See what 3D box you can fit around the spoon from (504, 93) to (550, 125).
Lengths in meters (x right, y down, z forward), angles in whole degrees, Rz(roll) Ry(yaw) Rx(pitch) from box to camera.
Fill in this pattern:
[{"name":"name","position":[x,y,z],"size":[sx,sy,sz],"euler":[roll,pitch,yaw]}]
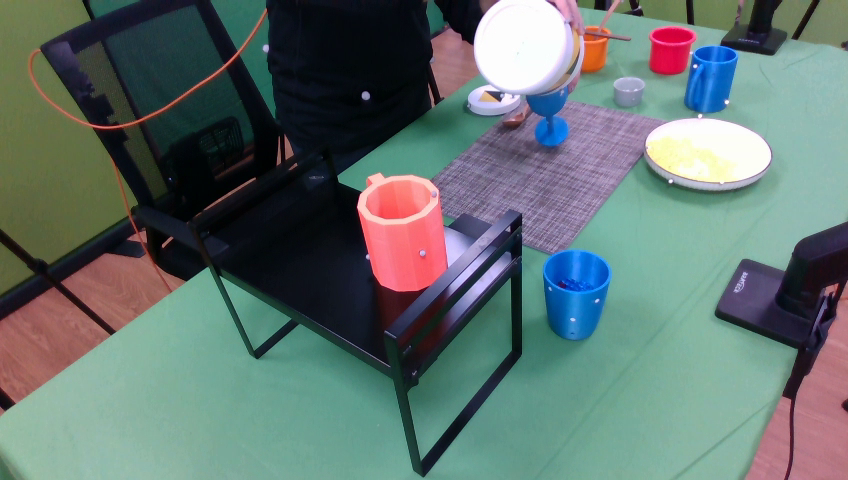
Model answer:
[{"name":"spoon","position":[0.227,-0.285,1.269],"size":[0.041,0.022,0.194],"euler":[1,35,45]}]

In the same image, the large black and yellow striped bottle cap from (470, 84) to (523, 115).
[{"name":"large black and yellow striped bottle cap","position":[0.156,-0.307,1.316],"size":[0.115,0.019,0.114],"euler":[-7,39,6]}]

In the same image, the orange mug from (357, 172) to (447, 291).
[{"name":"orange mug","position":[-0.030,-0.018,0.669],"size":[0.084,0.101,0.125],"euler":[-23,47,-16]}]

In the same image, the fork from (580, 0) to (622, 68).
[{"name":"fork","position":[0.409,-0.484,1.381],"size":[0.028,0.019,0.207],"euler":[37,101,46]}]

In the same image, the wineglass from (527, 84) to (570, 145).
[{"name":"wineglass","position":[0.223,-0.239,1.076],"size":[0.073,0.173,0.073],"euler":[-5,68,14]}]

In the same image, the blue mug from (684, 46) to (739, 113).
[{"name":"blue mug","position":[0.556,-0.310,1.190],"size":[0.117,0.106,0.081],"euler":[-32,46,-25]}]

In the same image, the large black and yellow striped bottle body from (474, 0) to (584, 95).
[{"name":"large black and yellow striped bottle body","position":[0.165,-0.284,0.903],"size":[0.130,0.131,0.185],"euler":[12,17,22]}]

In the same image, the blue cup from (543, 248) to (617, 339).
[{"name":"blue cup","position":[0.199,0.076,0.797],"size":[0.092,0.100,0.092],"euler":[-4,39,4]}]

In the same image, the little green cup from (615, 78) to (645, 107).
[{"name":"little green cup","position":[0.426,-0.306,1.257],"size":[0.061,0.039,0.061],"euler":[-4,40,4]}]

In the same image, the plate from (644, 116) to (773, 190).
[{"name":"plate","position":[0.495,-0.149,1.063],"size":[0.209,0.038,0.208],"euler":[-5,40,4]}]

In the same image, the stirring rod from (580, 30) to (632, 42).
[{"name":"stirring rod","position":[0.381,-0.463,1.356],"size":[0.175,0.006,0.014],"euler":[22,47,30]}]
